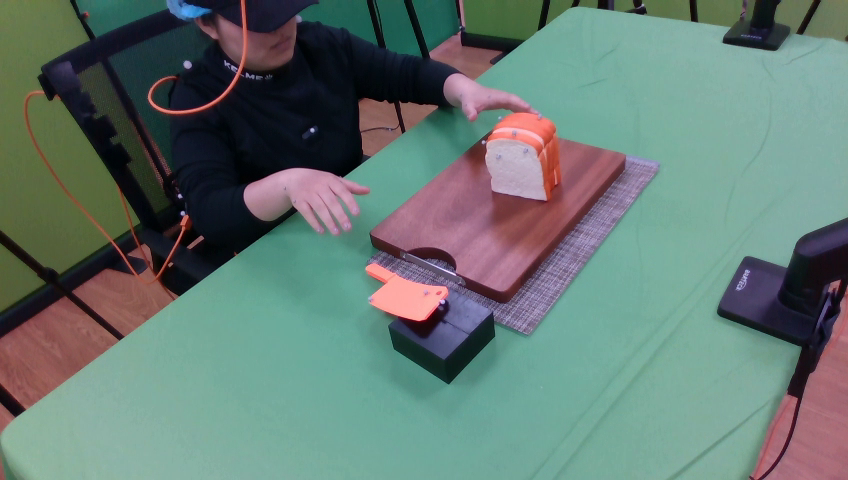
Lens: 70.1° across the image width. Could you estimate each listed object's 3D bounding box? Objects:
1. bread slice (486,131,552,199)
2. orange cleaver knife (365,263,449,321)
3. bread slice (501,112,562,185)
[{"bbox_3d":[0.148,-0.119,0.973,0.104,0.132,0.019,11,54,27],"label":"bread slice"},{"bbox_3d":[-0.042,0.072,0.870,0.077,0.012,0.209,-37,28,-23],"label":"orange cleaver knife"},{"bbox_3d":[0.176,-0.150,1.002,0.106,0.135,0.018,16,52,23],"label":"bread slice"}]
